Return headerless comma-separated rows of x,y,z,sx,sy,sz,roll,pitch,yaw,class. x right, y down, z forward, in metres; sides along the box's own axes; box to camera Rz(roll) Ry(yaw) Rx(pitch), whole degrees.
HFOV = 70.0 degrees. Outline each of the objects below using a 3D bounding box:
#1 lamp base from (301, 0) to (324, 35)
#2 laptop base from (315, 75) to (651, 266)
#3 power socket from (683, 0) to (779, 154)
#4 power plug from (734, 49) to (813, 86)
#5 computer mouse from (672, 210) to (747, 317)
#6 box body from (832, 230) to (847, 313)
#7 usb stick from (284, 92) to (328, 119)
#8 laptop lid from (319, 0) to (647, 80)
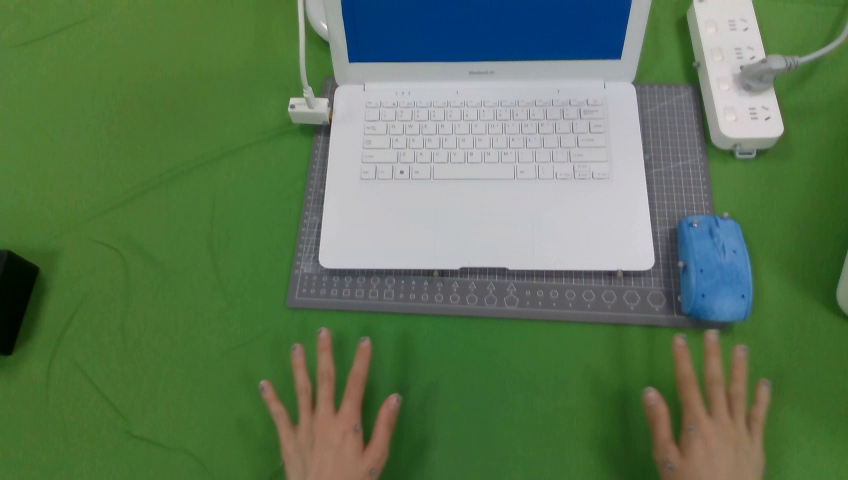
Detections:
-0.089,-0.355,0.710,0.160,0.181,0.177,-35,67,-11,lamp base
0.062,-0.080,0.678,0.354,0.023,0.234,0,71,3,laptop base
0.355,-0.206,0.708,0.072,0.033,0.225,0,68,1,power socket
0.383,-0.185,0.673,0.072,0.053,0.035,10,67,5,power plug
0.288,0.020,0.614,0.063,0.041,0.116,5,64,6,computer mouse
0.578,-0.055,0.565,0.253,0.161,0.362,25,71,12,box body
-0.130,-0.156,0.703,0.059,0.027,0.021,4,63,2,usb stick
0.060,-0.273,0.639,0.356,0.244,0.013,-1,44,4,laptop lid
